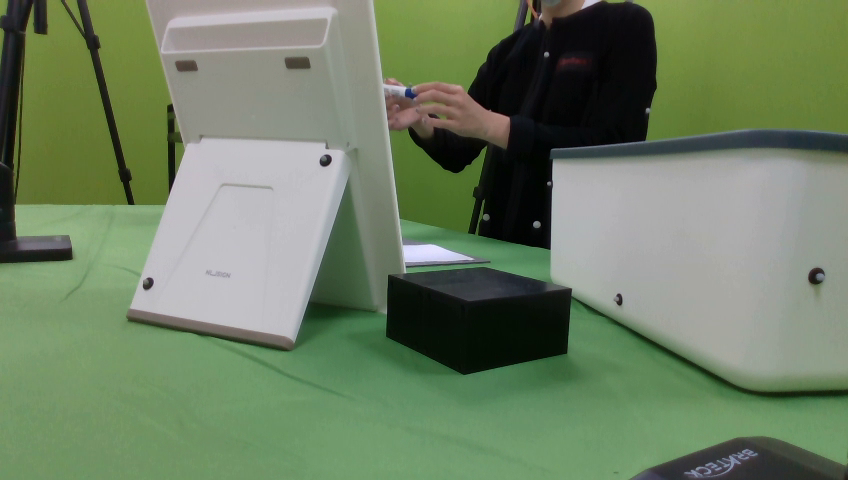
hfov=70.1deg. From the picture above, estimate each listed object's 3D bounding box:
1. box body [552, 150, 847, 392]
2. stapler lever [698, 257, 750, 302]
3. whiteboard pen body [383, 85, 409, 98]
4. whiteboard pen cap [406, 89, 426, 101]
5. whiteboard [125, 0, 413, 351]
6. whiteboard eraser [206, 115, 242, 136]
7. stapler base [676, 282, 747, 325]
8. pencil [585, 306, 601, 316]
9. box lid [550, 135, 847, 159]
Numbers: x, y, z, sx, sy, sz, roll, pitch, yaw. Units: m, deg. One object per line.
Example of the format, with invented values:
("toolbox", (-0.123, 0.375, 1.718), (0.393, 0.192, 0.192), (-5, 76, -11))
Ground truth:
("box body", (0.290, 0.002, 0.549), (0.255, 0.160, 0.363), (2, 7, -10))
("stapler lever", (0.291, 0.035, 0.580), (0.026, 0.040, 0.119), (32, 21, 33))
("whiteboard pen body", (-0.068, -0.259, 1.042), (0.140, 0.017, 0.017), (14, 11, 21))
("whiteboard pen cap", (-0.014, -0.246, 1.022), (0.033, 0.018, 0.018), (15, 12, 23))
("whiteboard", (-0.151, -0.050, 0.471), (0.216, 0.305, 0.144), (6, 27, 24))
("whiteboard eraser", (-0.438, -0.249, 1.320), (0.056, 0.042, 0.112), (-3, 9, -30))
("stapler base", (0.283, 0.057, 0.584), (0.041, 0.024, 0.131), (32, 19, 33))
("pencil", (0.250, 0.055, 0.656), (0.195, 0.012, 0.012), (-12, 13, -27))
("box lid", (0.294, -0.071, 0.538), (0.264, 0.015, 0.370), (2, 6, -10))
